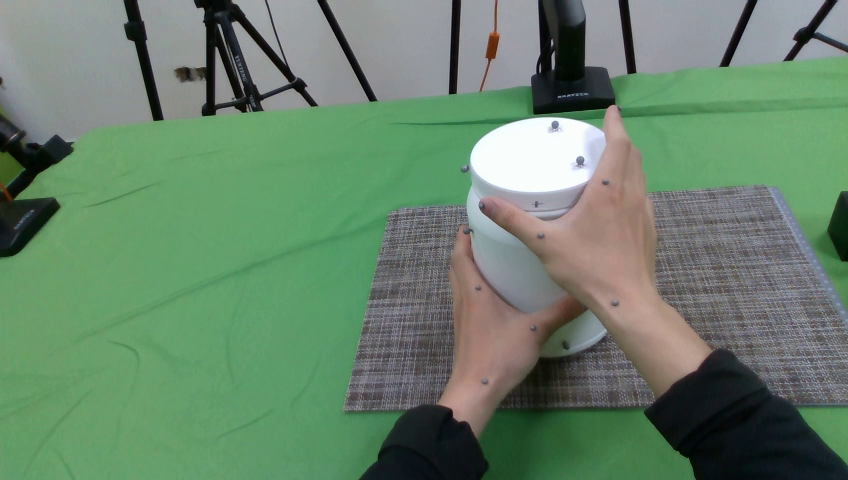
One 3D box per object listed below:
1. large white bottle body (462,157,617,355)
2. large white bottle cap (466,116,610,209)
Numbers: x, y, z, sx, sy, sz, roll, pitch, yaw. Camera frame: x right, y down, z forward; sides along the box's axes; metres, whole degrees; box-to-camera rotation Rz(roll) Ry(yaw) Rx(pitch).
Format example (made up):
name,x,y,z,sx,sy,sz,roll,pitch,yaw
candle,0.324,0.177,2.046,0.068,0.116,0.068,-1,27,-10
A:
name,x,y,z,sx,sy,sz,roll,pitch,yaw
large white bottle body,0.105,-0.002,0.544,0.130,0.186,0.129,-7,39,6
large white bottle cap,0.091,-0.065,0.490,0.115,0.018,0.113,-7,39,6
